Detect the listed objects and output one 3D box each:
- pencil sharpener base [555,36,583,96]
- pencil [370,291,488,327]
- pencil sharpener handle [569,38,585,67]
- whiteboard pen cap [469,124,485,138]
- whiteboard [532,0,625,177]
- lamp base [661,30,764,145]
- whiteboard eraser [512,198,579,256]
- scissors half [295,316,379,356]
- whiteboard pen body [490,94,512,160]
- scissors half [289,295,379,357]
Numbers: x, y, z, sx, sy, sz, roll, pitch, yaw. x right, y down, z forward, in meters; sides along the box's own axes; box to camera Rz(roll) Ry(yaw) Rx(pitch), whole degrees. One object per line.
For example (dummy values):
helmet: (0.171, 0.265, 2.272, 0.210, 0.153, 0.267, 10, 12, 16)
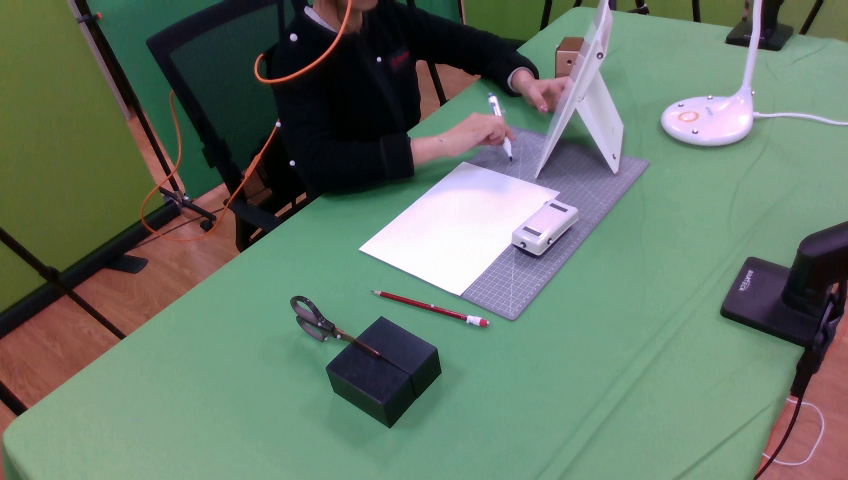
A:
pencil sharpener base: (0.317, -0.371, 1.290, 0.061, 0.107, 0.076, 10, 44, 22)
pencil: (0.003, 0.097, 0.876, 0.193, 0.012, 0.012, 13, 45, 25)
pencil sharpener handle: (0.332, -0.413, 1.318, 0.036, 0.068, 0.030, 19, 46, 13)
whiteboard pen cap: (0.106, -0.220, 1.224, 0.033, 0.018, 0.018, -37, 48, -24)
whiteboard: (0.320, -0.258, 1.050, 0.144, 0.306, 0.217, 21, 45, 5)
lamp base: (0.535, -0.287, 1.096, 0.179, 0.181, 0.159, -10, 40, -4)
whiteboard eraser: (0.191, -0.019, 0.949, 0.055, 0.042, 0.113, 26, 51, 36)
scissors half: (-0.119, 0.132, 0.813, 0.174, 0.040, 0.013, 9, 34, 45)
whiteboard pen body: (0.147, -0.215, 1.147, 0.017, 0.017, 0.140, -12, 73, -3)
scissors half: (-0.122, 0.114, 0.803, 0.174, 0.040, 0.013, 26, 50, 32)
